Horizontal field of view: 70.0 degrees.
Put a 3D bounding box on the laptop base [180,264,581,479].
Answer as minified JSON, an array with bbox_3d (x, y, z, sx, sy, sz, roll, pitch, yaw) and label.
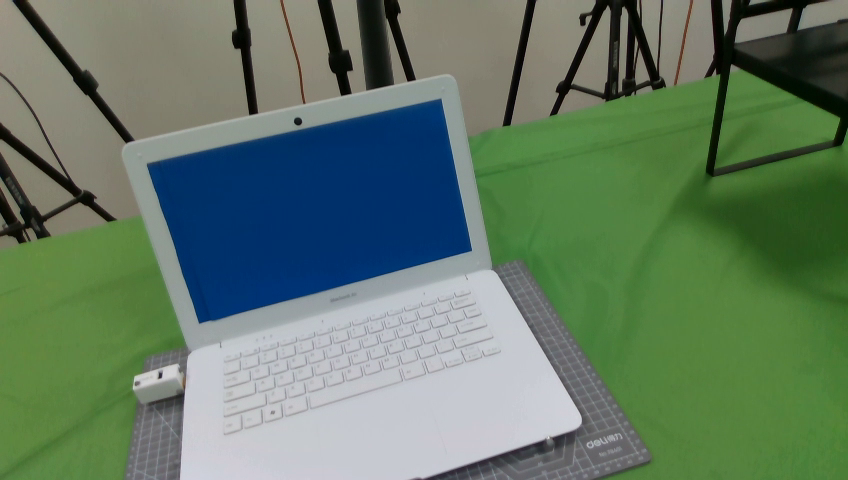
[{"bbox_3d":[-0.057,0.140,0.597,0.355,0.023,0.233,-15,39,-9],"label":"laptop base"}]

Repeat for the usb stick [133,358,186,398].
[{"bbox_3d":[-0.263,0.139,0.620,0.059,0.027,0.021,-12,34,-10],"label":"usb stick"}]

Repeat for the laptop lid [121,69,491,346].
[{"bbox_3d":[-0.112,-0.033,0.658,0.357,0.243,0.013,-16,15,-8],"label":"laptop lid"}]
